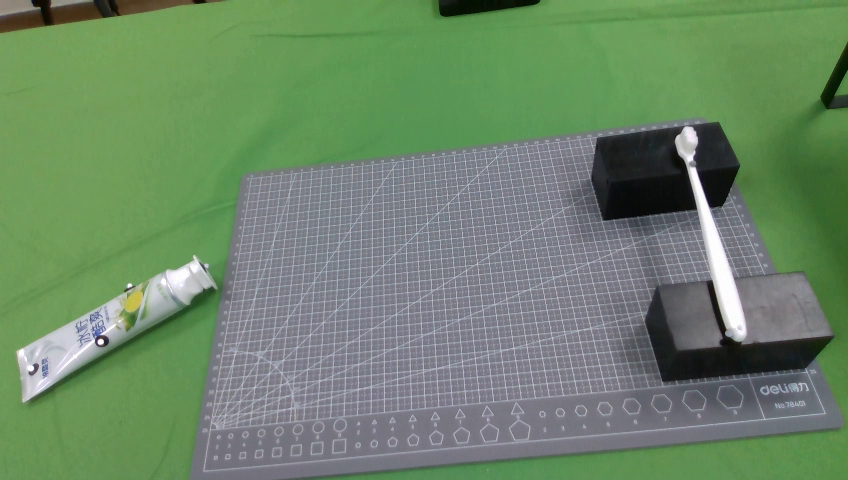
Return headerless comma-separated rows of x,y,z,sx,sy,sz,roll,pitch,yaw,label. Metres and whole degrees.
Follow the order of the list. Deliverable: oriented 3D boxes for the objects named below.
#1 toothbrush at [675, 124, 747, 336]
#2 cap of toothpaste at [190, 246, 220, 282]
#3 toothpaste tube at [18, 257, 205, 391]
0.205,-0.015,0.434,0.014,0.017,0.180,6,56,-5,toothbrush
-0.188,0.022,0.516,0.011,0.038,0.037,-34,57,-16,cap of toothpaste
-0.258,0.061,0.506,0.165,0.035,0.054,-30,50,-8,toothpaste tube
